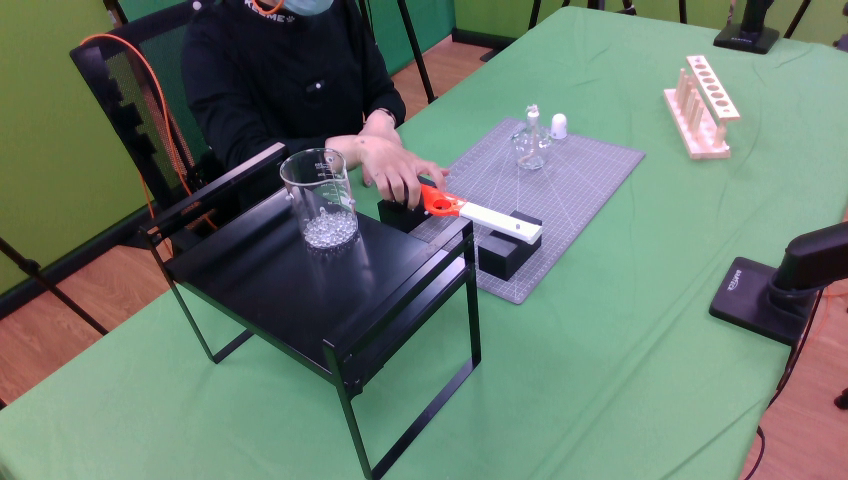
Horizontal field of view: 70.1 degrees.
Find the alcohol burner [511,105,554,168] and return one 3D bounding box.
[{"bbox_3d":[0.196,-0.190,1.088,0.078,0.119,0.077,-3,42,3],"label":"alcohol burner"}]

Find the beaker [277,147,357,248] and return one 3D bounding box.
[{"bbox_3d":[-0.117,-0.046,0.705,0.083,0.101,0.074,17,47,25],"label":"beaker"}]

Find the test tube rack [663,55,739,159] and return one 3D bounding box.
[{"bbox_3d":[0.518,-0.256,1.144,0.066,0.085,0.241,-1,41,8],"label":"test tube rack"}]

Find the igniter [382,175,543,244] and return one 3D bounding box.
[{"bbox_3d":[0.053,-0.052,0.941,0.274,0.025,0.057,22,47,27],"label":"igniter"}]

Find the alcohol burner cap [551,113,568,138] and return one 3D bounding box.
[{"bbox_3d":[0.263,-0.223,1.172,0.034,0.048,0.033,-5,39,4],"label":"alcohol burner cap"}]
